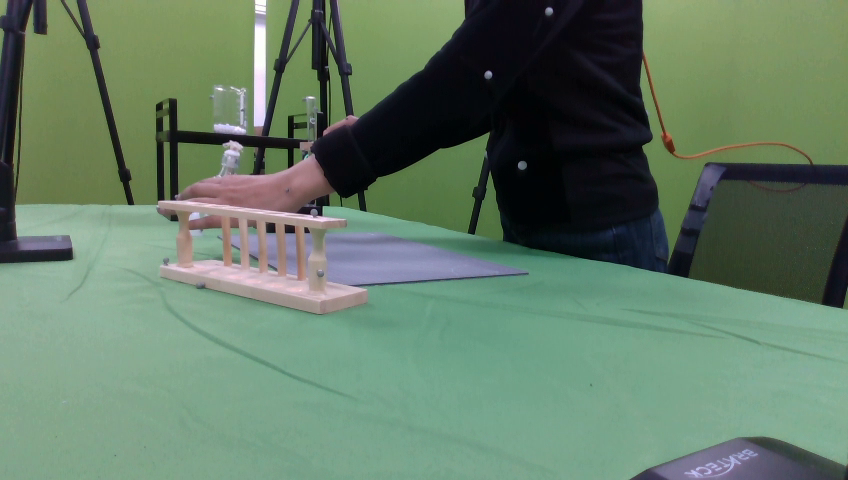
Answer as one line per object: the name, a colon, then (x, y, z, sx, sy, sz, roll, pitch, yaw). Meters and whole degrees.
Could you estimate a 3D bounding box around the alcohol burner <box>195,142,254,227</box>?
alcohol burner: (-0.274, -0.078, 0.839, 0.078, 0.119, 0.078, 11, 7, -1)

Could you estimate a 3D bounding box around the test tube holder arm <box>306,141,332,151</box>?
test tube holder arm: (-0.179, -0.161, 1.040, 0.010, 0.015, 0.088, 10, 12, 12)

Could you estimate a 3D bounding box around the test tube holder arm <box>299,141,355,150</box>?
test tube holder arm: (-0.170, -0.170, 1.083, 0.013, 0.015, 0.179, 12, 13, 19)

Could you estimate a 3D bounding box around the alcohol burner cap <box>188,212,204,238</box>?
alcohol burner cap: (-0.390, -0.029, 1.025, 0.034, 0.048, 0.034, 2, 9, 0)

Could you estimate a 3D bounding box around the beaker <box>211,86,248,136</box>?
beaker: (-0.414, -0.274, 1.297, 0.074, 0.100, 0.083, -5, 11, -44)

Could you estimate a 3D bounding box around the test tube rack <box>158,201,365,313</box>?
test tube rack: (-0.174, 0.009, 0.624, 0.241, 0.085, 0.067, 7, 9, 34)

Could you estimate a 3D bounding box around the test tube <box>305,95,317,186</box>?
test tube: (-0.190, -0.166, 1.017, 0.017, 0.150, 0.017, 1, 14, 0)
